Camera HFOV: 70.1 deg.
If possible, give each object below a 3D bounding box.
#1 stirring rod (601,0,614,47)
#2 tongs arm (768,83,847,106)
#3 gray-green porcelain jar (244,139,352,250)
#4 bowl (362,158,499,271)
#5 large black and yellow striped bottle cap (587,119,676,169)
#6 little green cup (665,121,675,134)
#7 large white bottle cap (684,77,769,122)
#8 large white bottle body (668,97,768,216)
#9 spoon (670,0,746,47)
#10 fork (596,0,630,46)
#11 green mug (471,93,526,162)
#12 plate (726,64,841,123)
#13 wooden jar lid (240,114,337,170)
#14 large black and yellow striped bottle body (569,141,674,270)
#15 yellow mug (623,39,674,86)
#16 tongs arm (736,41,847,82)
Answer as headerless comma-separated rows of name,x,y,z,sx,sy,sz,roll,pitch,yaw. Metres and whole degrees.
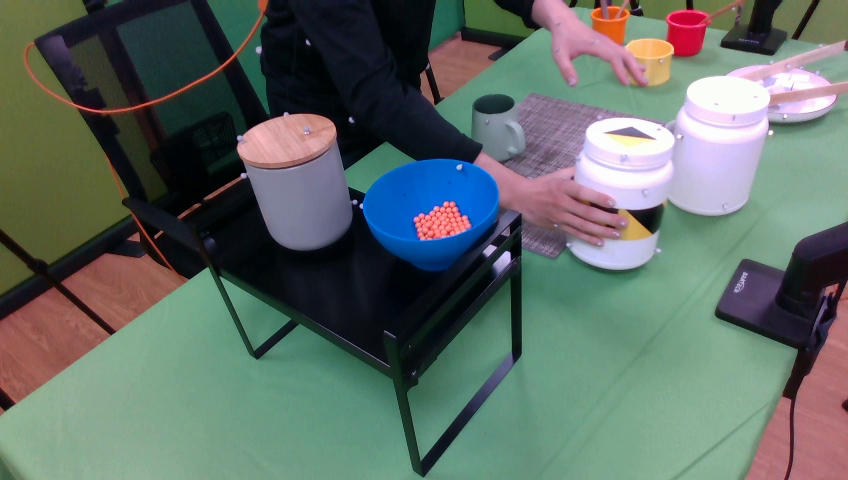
stirring rod,0.439,-0.552,1.463,0.014,0.006,0.175,-7,83,2
tongs arm,0.738,-0.281,1.134,0.388,0.028,0.028,-9,47,-5
gray-green porcelain jar,-0.144,-0.060,0.714,0.106,0.127,0.105,-4,41,4
bowl,0.011,-0.019,0.679,0.151,0.077,0.150,-5,41,4
large black and yellow striped bottle cap,0.281,-0.133,0.821,0.115,0.019,0.114,-2,36,2
little green cup,0.473,-0.188,1.113,0.061,0.039,0.061,-5,40,5
large white bottle cap,0.448,-0.210,0.898,0.115,0.018,0.114,-4,40,4
large white bottle body,0.458,-0.146,0.952,0.130,0.185,0.130,-4,40,4
spoon,0.629,-0.485,1.350,0.022,0.193,0.042,48,54,-7
fork,0.481,-0.556,1.452,0.028,0.019,0.207,40,103,38
green mug,0.143,-0.202,1.122,0.093,0.105,0.124,-28,45,-23
plate,0.695,-0.282,1.189,0.207,0.039,0.206,-4,40,4
wooden jar lid,-0.149,-0.106,0.673,0.108,0.021,0.108,-6,39,5
large black and yellow striped bottle body,0.282,-0.065,0.870,0.131,0.184,0.130,-1,35,1
yellow mug,0.484,-0.398,1.334,0.100,0.064,0.130,-18,41,-11
tongs arm,0.712,-0.332,1.194,0.386,0.026,0.050,-19,45,-16
